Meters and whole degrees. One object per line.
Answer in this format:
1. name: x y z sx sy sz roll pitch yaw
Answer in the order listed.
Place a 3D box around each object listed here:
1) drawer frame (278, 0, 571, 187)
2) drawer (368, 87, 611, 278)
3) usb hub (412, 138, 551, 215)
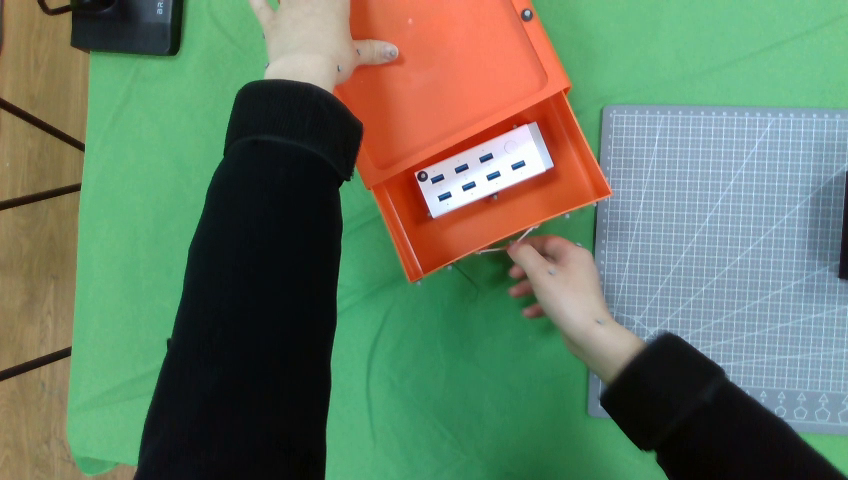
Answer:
1. drawer frame: -0.005 -0.183 0.556 0.201 0.083 0.213 -26 89 7
2. drawer: 0.036 -0.097 0.558 0.194 0.073 0.211 -24 89 7
3. usb hub: 0.054 -0.060 0.573 0.125 0.025 0.049 -11 92 12
